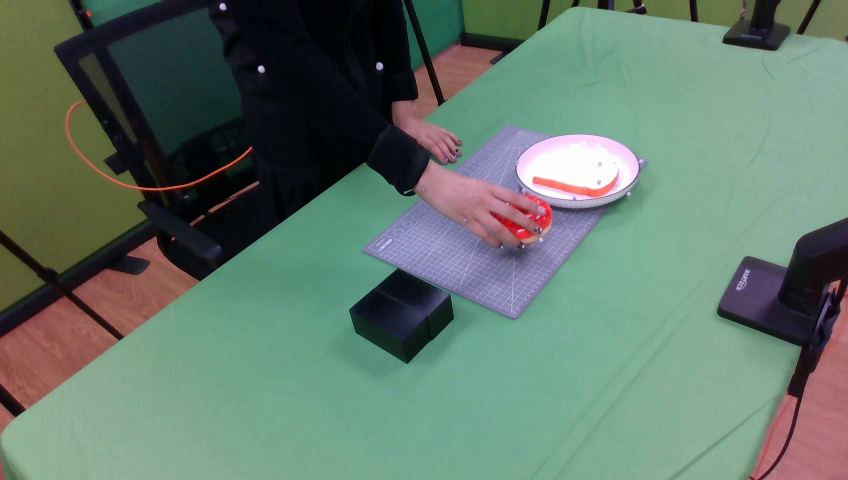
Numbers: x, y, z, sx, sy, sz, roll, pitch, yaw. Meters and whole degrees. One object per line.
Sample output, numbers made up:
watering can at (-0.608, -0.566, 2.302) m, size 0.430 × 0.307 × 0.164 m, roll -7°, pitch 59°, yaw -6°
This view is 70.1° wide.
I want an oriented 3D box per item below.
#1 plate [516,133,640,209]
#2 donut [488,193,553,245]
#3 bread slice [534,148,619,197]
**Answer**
plate at (0.266, -0.117, 1.055) m, size 0.209 × 0.038 × 0.208 m, roll -5°, pitch 40°, yaw 5°
donut at (0.146, -0.033, 0.916) m, size 0.099 × 0.048 × 0.098 m, roll -6°, pitch 43°, yaw 6°
bread slice at (0.274, -0.119, 1.057) m, size 0.130 × 0.019 × 0.105 m, roll 19°, pitch 48°, yaw 30°
